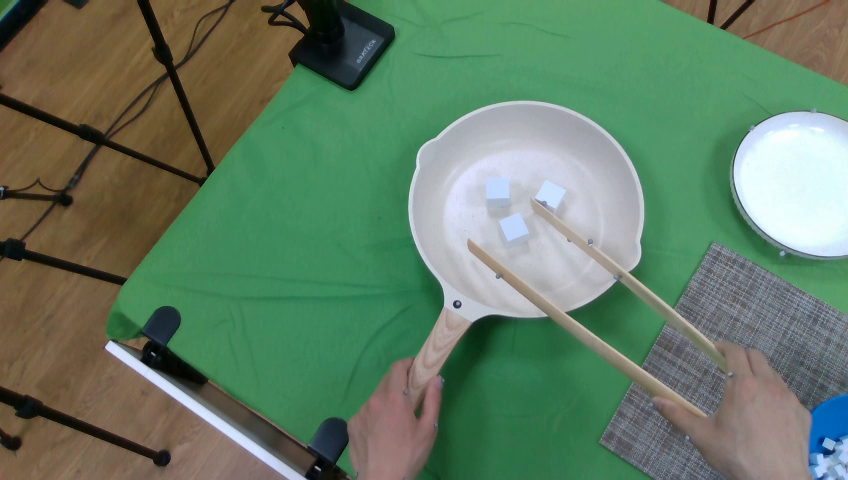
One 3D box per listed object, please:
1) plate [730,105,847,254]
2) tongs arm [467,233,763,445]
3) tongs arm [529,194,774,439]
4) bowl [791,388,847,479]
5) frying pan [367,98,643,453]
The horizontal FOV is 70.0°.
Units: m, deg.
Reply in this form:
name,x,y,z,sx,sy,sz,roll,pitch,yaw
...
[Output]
name,x,y,z,sx,sy,sz,roll,pitch,yaw
plate,0.502,-0.077,0.789,0.207,0.039,0.206,-1,72,4
tongs arm,0.173,0.089,0.655,0.028,0.028,0.383,-32,46,-22
tongs arm,0.221,0.059,0.669,0.051,0.027,0.380,-30,46,-15
bowl,0.468,0.240,0.662,0.151,0.077,0.150,-1,72,3
frying pan,0.071,0.039,0.743,0.305,0.103,0.486,30,68,13
